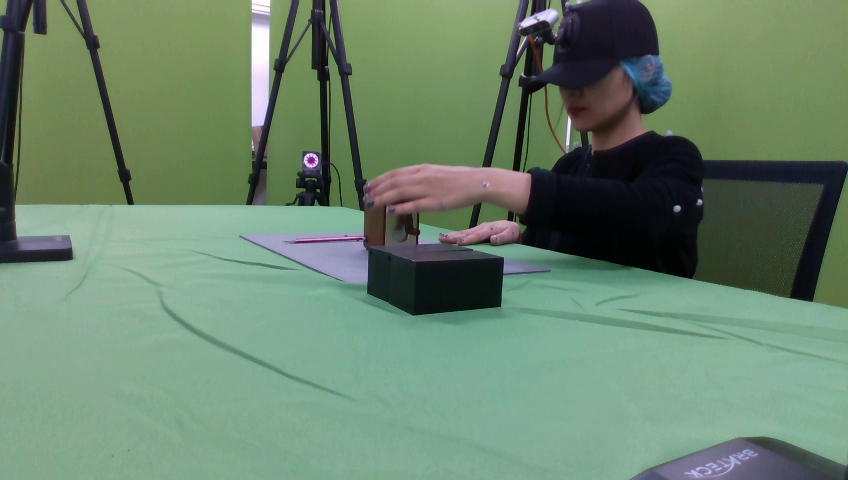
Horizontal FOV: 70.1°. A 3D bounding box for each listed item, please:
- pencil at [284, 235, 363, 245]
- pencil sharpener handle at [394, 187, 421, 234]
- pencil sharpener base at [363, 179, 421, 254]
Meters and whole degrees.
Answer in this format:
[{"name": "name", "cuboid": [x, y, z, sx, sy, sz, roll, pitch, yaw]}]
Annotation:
[{"name": "pencil", "cuboid": [-0.138, -0.002, 1.003, 0.195, 0.012, 0.012, -5, 9, -33]}, {"name": "pencil sharpener handle", "cuboid": [-0.018, -0.042, 0.862, 0.036, 0.068, 0.030, -15, 15, -28]}, {"name": "pencil sharpener base", "cuboid": [-0.048, -0.036, 0.906, 0.062, 0.107, 0.076, -1, 8, -31]}]
